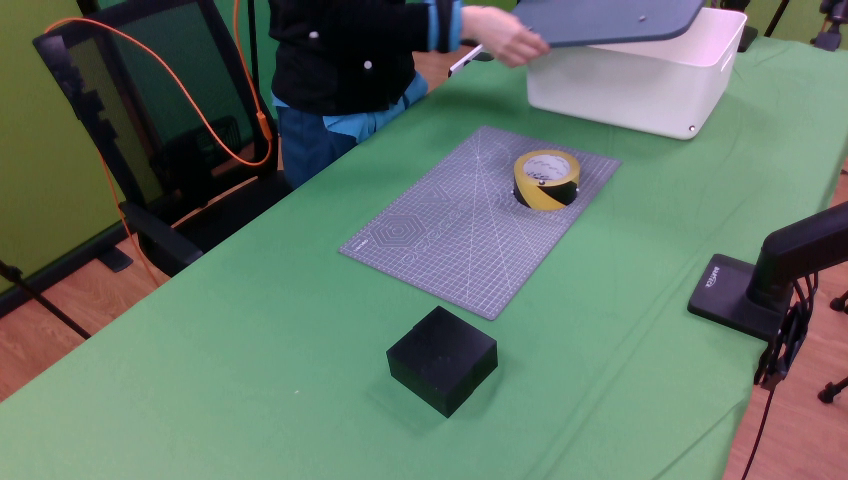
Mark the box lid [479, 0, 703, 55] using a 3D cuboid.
[{"bbox_3d":[0.300,-0.404,1.057,0.368,0.015,0.263,10,51,39],"label":"box lid"}]

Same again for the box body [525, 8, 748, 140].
[{"bbox_3d":[0.412,-0.354,1.212,0.361,0.161,0.254,20,48,29],"label":"box body"}]

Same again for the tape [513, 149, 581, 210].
[{"bbox_3d":[0.209,-0.104,1.032,0.117,0.053,0.116,-4,40,4],"label":"tape"}]
